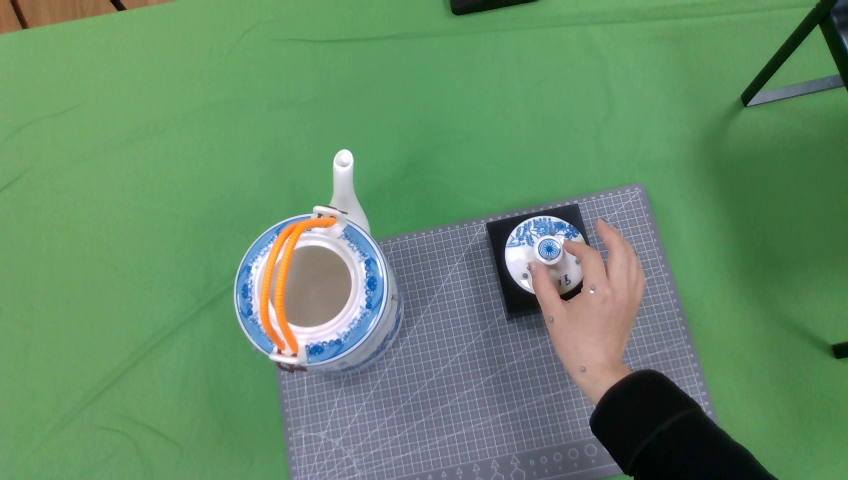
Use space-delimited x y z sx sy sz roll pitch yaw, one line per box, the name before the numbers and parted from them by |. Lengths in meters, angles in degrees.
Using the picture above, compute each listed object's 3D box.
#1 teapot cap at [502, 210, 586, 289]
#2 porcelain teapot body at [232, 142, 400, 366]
teapot cap | 0.121 0.008 0.611 0.085 0.044 0.084 -1 73 5
porcelain teapot body | -0.098 0.014 0.583 0.145 0.226 0.204 10 76 7
